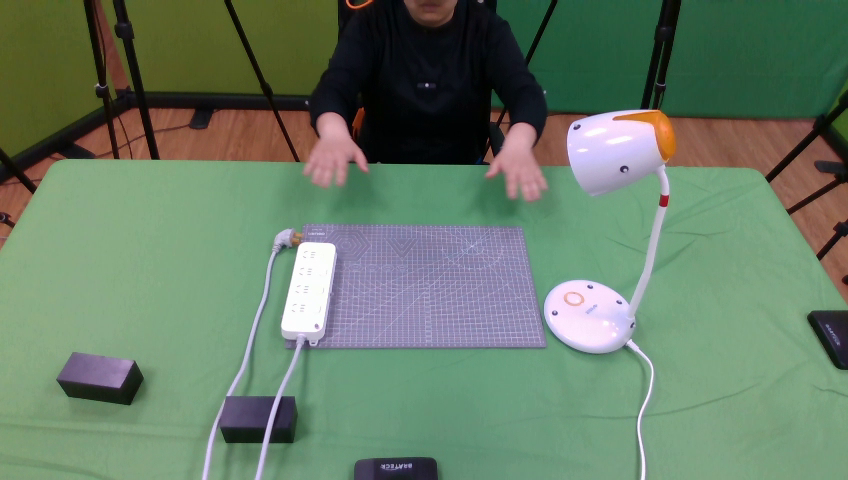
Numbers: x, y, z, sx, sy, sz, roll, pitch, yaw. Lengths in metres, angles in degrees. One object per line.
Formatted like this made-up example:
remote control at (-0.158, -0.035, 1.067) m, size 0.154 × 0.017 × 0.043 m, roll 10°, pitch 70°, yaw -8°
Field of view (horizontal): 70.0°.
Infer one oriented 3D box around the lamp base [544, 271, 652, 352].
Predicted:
lamp base at (0.309, 0.086, 1.029) m, size 0.178 × 0.181 × 0.160 m, roll 32°, pitch 52°, yaw 21°

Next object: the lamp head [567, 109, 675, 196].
lamp head at (0.272, -0.123, 0.818) m, size 0.122 × 0.113 × 0.112 m, roll -9°, pitch 35°, yaw 37°

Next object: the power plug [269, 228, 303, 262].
power plug at (-0.265, 0.012, 1.172) m, size 0.052 × 0.035 × 0.072 m, roll 9°, pitch 81°, yaw 9°

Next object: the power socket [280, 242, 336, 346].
power socket at (-0.206, 0.087, 1.087) m, size 0.072 × 0.033 × 0.225 m, roll 3°, pitch 46°, yaw -1°
